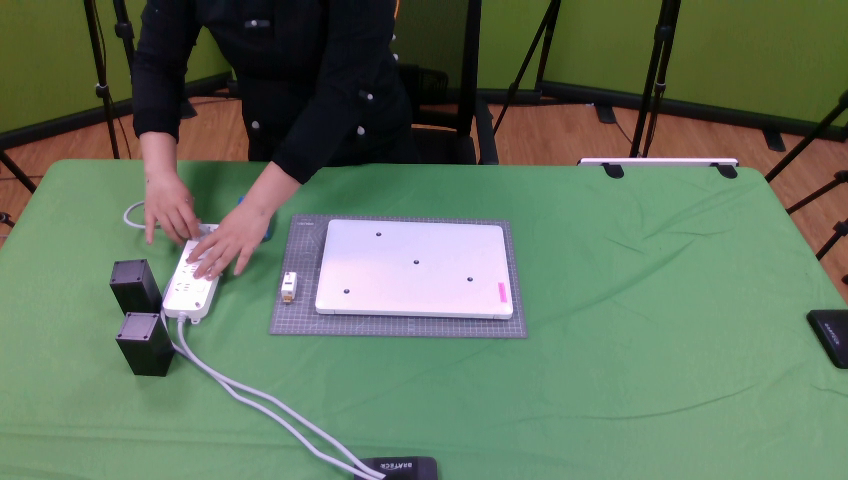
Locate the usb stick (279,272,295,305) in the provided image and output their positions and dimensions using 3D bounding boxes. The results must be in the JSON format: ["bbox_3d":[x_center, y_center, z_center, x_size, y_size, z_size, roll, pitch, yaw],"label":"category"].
[{"bbox_3d":[-0.245,0.088,1.085,0.021,0.027,0.059,4,48,-4],"label":"usb stick"}]

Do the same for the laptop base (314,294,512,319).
[{"bbox_3d":[-0.018,0.055,1.144,0.354,0.023,0.234,2,42,-2],"label":"laptop base"}]

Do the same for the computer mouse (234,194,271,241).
[{"bbox_3d":[-0.341,-0.049,1.207,0.063,0.041,0.116,1,51,-8],"label":"computer mouse"}]

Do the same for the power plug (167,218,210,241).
[{"bbox_3d":[-0.437,-0.021,1.137,0.072,0.053,0.035,19,48,-2],"label":"power plug"}]

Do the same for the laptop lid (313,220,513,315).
[{"bbox_3d":[-0.017,0.045,1.138,0.357,0.013,0.240,3,43,-1],"label":"laptop lid"}]

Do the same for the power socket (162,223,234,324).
[{"bbox_3d":[-0.409,0.052,1.107,0.072,0.033,0.225,5,46,-1],"label":"power socket"}]
